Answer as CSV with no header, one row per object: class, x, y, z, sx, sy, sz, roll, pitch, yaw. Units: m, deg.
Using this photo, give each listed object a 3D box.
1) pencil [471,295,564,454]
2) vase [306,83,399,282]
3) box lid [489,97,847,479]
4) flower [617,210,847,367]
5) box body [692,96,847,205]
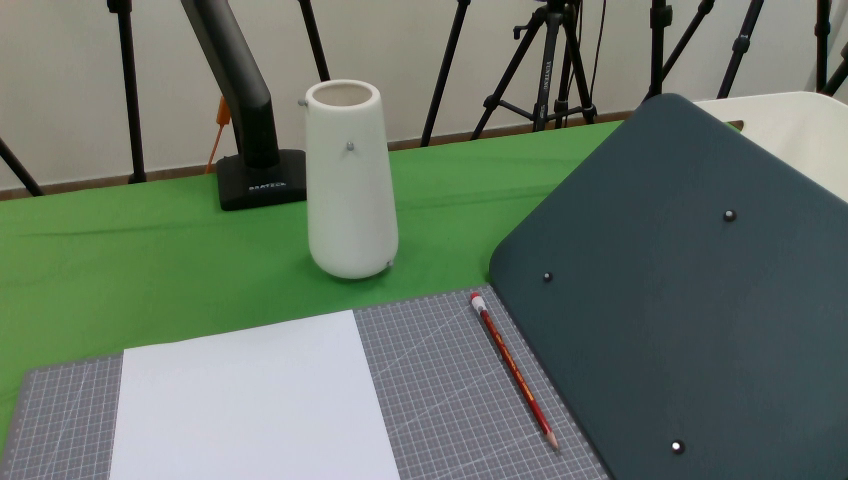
pencil,0.081,0.115,0.554,0.012,0.012,0.192,-10,39,-15
vase,-0.077,-0.054,0.623,0.098,0.201,0.097,0,36,0
box lid,0.210,0.045,0.504,0.015,0.263,0.367,33,18,-37
flower,0.346,0.070,0.614,0.358,0.038,0.044,41,11,35
box body,0.380,0.013,0.581,0.255,0.162,0.360,-9,38,-14
